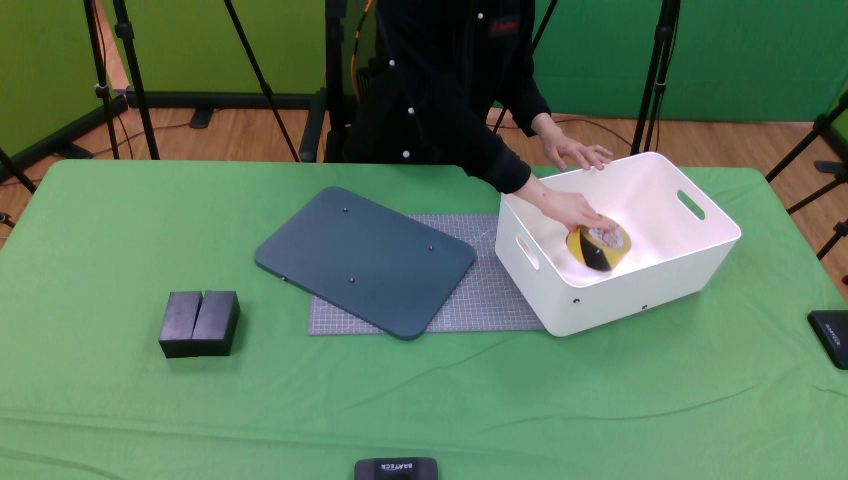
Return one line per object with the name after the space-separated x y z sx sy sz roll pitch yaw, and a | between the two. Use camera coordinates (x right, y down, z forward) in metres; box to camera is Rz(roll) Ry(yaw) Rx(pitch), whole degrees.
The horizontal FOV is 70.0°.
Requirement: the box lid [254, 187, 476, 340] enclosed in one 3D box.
-0.112 0.028 1.168 0.370 0.015 0.262 24 49 19 | box lid

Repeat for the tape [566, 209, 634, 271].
0.332 -0.001 1.143 0.117 0.053 0.116 14 42 -12 | tape

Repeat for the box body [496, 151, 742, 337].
0.340 0.004 1.118 0.364 0.161 0.252 -15 49 -18 | box body
